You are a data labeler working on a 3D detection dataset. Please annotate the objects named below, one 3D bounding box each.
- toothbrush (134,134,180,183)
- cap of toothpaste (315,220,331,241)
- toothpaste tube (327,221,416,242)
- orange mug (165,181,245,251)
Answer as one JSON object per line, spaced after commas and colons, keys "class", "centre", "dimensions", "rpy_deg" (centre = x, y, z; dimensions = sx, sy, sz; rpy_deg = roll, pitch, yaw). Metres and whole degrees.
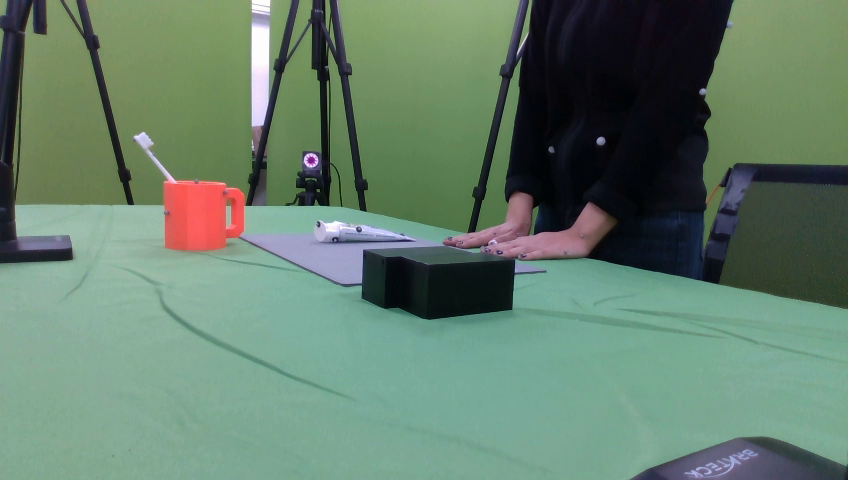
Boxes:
{"class": "toothbrush", "centre": [-0.348, -0.077, 0.874], "dimensions": [0.014, 0.182, 0.017], "rpy_deg": [-14, 29, 46]}
{"class": "cap of toothpaste", "centre": [-0.164, -0.016, 0.982], "dimensions": [0.011, 0.037, 0.037], "rpy_deg": [-8, 12, -43]}
{"class": "toothpaste tube", "centre": [-0.095, -0.012, 1.026], "dimensions": [0.166, 0.034, 0.055], "rpy_deg": [2, 13, -33]}
{"class": "orange mug", "centre": [-0.326, -0.040, 0.911], "dimensions": [0.083, 0.101, 0.127], "rpy_deg": [8, 14, 37]}
